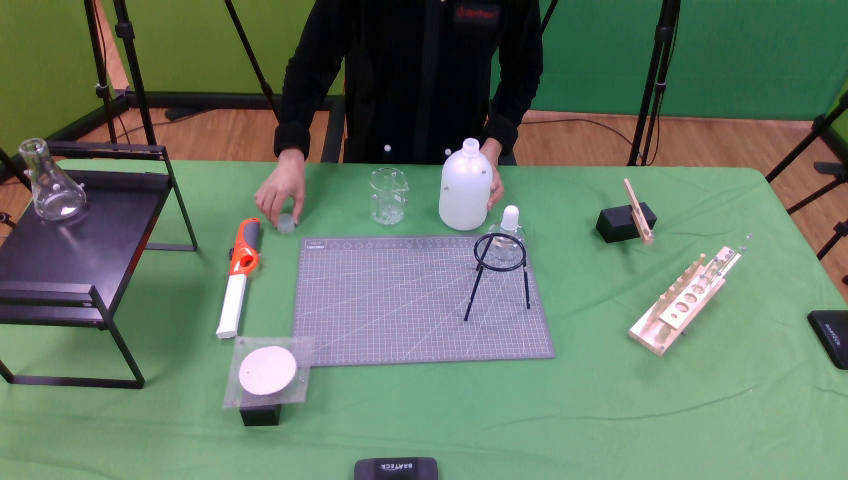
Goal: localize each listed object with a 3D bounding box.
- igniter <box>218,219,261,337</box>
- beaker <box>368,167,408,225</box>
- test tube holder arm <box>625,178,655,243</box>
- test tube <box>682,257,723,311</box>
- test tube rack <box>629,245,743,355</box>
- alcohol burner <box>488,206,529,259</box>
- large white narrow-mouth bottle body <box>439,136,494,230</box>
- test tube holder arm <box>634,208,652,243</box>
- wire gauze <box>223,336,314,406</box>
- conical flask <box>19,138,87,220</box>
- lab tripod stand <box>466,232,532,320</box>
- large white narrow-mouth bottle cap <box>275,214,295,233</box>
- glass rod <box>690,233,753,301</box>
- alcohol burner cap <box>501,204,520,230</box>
[{"bbox_3d":[-0.336,0.060,1.111,0.057,0.025,0.274,-8,46,4],"label":"igniter"},{"bbox_3d":[-0.070,-0.085,1.220,0.084,0.101,0.074,21,49,15],"label":"beaker"},{"bbox_3d":[0.433,-0.062,1.220,0.013,0.015,0.177,1,47,-3],"label":"test tube holder arm"},{"bbox_3d":[0.475,0.080,1.037,0.017,0.151,0.017,1,51,-1],"label":"test tube"},{"bbox_3d":[0.474,0.095,1.091,0.242,0.085,0.066,-34,56,-31],"label":"test tube rack"},{"bbox_3d":[0.163,-0.020,1.158,0.078,0.120,0.077,0,47,0],"label":"alcohol burner"},{"bbox_3d":[0.085,-0.118,1.196,0.102,0.195,0.101,2,46,-2],"label":"large white narrow-mouth bottle body"},{"bbox_3d":[0.428,-0.030,1.189,0.010,0.015,0.087,2,47,-3],"label":"test tube holder arm"},{"bbox_3d":[-0.237,0.197,0.931,0.121,0.011,0.124,1,45,-4],"label":"wire gauze"},{"bbox_3d":[-0.576,-0.097,0.930,0.075,0.122,0.075,2,46,-2],"label":"conical flask"},{"bbox_3d":[0.125,0.059,1.065,0.148,0.132,0.147,1,45,0],"label":"lab tripod stand"},{"bbox_3d":[-0.278,-0.034,1.213,0.038,0.024,0.037,3,46,-3],"label":"large white narrow-mouth bottle cap"},{"bbox_3d":[0.507,0.053,1.041,0.008,0.200,0.008,5,51,-6],"label":"glass rod"},{"bbox_3d":[0.164,-0.046,1.133,0.034,0.048,0.033,2,40,-2],"label":"alcohol burner cap"}]
